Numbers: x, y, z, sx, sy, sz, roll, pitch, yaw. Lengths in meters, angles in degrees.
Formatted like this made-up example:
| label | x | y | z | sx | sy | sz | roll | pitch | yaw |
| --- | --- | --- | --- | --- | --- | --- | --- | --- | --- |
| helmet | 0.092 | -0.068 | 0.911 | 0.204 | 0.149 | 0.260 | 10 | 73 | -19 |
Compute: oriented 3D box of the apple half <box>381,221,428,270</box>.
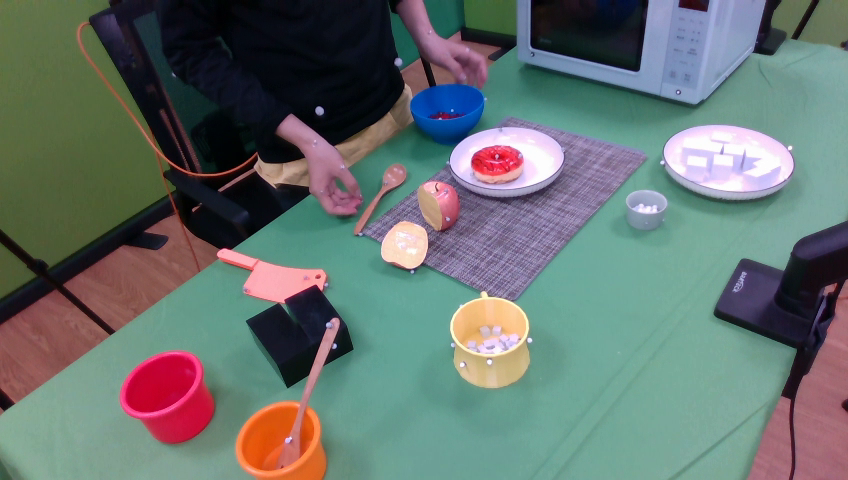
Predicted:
| label | x | y | z | sx | sy | sz | roll | pitch | yaw |
| --- | --- | --- | --- | --- | --- | --- | --- | --- | --- |
| apple half | -0.025 | 0.012 | 0.946 | 0.081 | 0.033 | 0.081 | -5 | 73 | 16 |

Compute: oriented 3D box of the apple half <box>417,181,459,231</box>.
| label | x | y | z | sx | sy | sz | roll | pitch | yaw |
| --- | --- | --- | --- | --- | --- | --- | --- | --- | --- |
| apple half | 0.030 | -0.060 | 0.995 | 0.053 | 0.075 | 0.080 | -23 | 39 | -22 |

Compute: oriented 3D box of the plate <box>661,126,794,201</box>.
| label | x | y | z | sx | sy | sz | roll | pitch | yaw |
| --- | --- | --- | --- | --- | --- | --- | --- | --- | --- |
| plate | 0.513 | -0.128 | 1.035 | 0.207 | 0.039 | 0.206 | -4 | 40 | 4 |

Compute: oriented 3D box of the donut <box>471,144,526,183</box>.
| label | x | y | z | sx | sy | sz | roll | pitch | yaw |
| --- | --- | --- | --- | --- | --- | --- | --- | --- | --- |
| donut | 0.133 | -0.138 | 1.082 | 0.099 | 0.048 | 0.098 | -5 | 38 | 5 |

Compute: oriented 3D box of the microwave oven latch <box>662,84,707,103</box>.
| label | x | y | z | sx | sy | sz | roll | pitch | yaw |
| --- | --- | --- | --- | --- | --- | --- | --- | --- | --- |
| microwave oven latch | 0.517 | -0.296 | 1.204 | 0.078 | 0.029 | 0.030 | 27 | 52 | 35 |

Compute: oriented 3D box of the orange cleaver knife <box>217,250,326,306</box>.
| label | x | y | z | sx | sy | sz | roll | pitch | yaw |
| --- | --- | --- | --- | --- | --- | --- | --- | --- | --- |
| orange cleaver knife | -0.248 | 0.059 | 0.945 | 0.210 | 0.012 | 0.077 | 12 | 49 | 20 |

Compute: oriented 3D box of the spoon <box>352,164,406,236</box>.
| label | x | y | z | sx | sy | sz | roll | pitch | yaw |
| --- | --- | --- | --- | --- | --- | --- | --- | --- | --- |
| spoon | -0.083 | -0.074 | 1.074 | 0.041 | 0.022 | 0.194 | 21 | 46 | 10 |

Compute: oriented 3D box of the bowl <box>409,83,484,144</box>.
| label | x | y | z | sx | sy | sz | roll | pitch | yaw |
| --- | --- | --- | --- | --- | --- | --- | --- | --- | --- |
| bowl | 0.048 | -0.245 | 1.213 | 0.151 | 0.077 | 0.150 | -4 | 40 | 4 |

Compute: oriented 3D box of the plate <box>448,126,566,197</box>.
| label | x | y | z | sx | sy | sz | roll | pitch | yaw |
| --- | --- | --- | --- | --- | --- | --- | --- | --- | --- |
| plate | 0.150 | -0.138 | 1.097 | 0.209 | 0.038 | 0.208 | -4 | 40 | 4 |

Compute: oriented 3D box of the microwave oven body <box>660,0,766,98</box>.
| label | x | y | z | sx | sy | sz | roll | pitch | yaw |
| --- | --- | --- | --- | --- | --- | --- | --- | --- | --- |
| microwave oven body | 0.472 | -0.513 | 1.317 | 0.438 | 0.261 | 0.327 | 26 | 51 | 34 |

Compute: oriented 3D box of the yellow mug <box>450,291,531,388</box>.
| label | x | y | z | sx | sy | sz | roll | pitch | yaw |
| --- | --- | --- | --- | --- | --- | --- | --- | --- | --- |
| yellow mug | 0.085 | 0.120 | 0.786 | 0.100 | 0.064 | 0.130 | -7 | 39 | 1 |

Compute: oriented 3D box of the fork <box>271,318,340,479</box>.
| label | x | y | z | sx | sy | sz | roll | pitch | yaw |
| --- | --- | --- | --- | --- | --- | --- | --- | --- | --- |
| fork | -0.132 | 0.186 | 0.676 | 0.028 | 0.019 | 0.207 | 18 | 90 | 28 |

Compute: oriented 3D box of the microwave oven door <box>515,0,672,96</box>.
| label | x | y | z | sx | sy | sz | roll | pitch | yaw |
| --- | --- | --- | --- | --- | --- | --- | --- | --- | --- |
| microwave oven door | 0.343 | -0.454 | 1.259 | 0.353 | 0.245 | 0.039 | 26 | 51 | 33 |

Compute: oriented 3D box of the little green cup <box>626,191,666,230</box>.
| label | x | y | z | sx | sy | sz | roll | pitch | yaw |
| --- | --- | --- | --- | --- | --- | --- | --- | --- | --- |
| little green cup | 0.352 | -0.046 | 0.963 | 0.061 | 0.039 | 0.061 | -4 | 40 | 4 |
